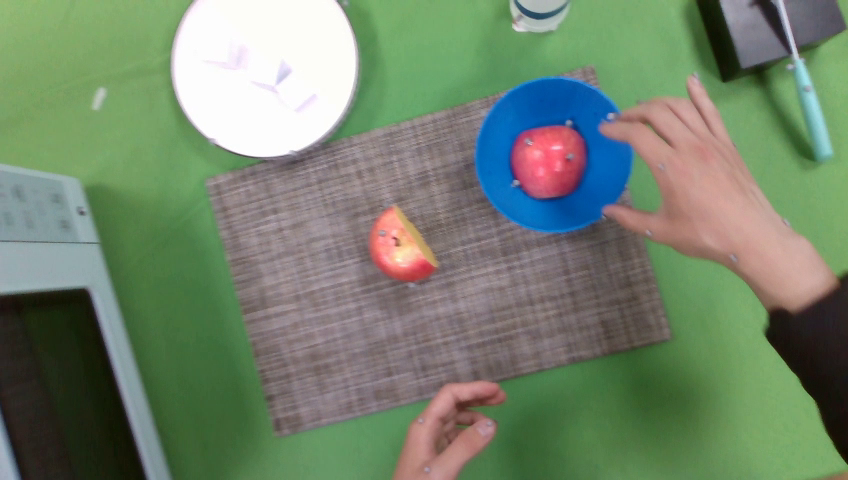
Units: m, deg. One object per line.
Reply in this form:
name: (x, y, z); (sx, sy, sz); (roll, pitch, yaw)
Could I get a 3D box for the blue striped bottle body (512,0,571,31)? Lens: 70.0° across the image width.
blue striped bottle body: (0.121, -0.258, 0.600); (0.063, 0.121, 0.063); (0, 89, 6)

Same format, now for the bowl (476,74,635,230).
bowl: (0.129, -0.084, 0.618); (0.151, 0.077, 0.151); (0, 90, 6)

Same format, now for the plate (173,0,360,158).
plate: (-0.170, -0.192, 0.671); (0.207, 0.039, 0.207); (0, 90, 5)

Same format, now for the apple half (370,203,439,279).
apple half: (-0.027, 0.007, 0.636); (0.053, 0.074, 0.081); (-35, 90, 8)

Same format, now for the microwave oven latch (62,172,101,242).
microwave oven latch: (-0.390, -0.035, 0.675); (0.030, 0.029, 0.079); (-17, 89, 5)

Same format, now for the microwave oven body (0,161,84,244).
microwave oven body: (-0.490, 0.176, 0.588); (0.326, 0.260, 0.441); (-17, 89, 5)

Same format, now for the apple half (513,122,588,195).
apple half: (0.130, -0.084, 0.612); (0.081, 0.033, 0.081); (0, 89, 7)

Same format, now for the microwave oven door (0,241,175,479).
microwave oven door: (-0.339, 0.174, 0.568); (0.039, 0.244, 0.355); (-18, 88, 6)

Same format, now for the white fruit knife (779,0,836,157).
white fruit knife: (0.368, -0.173, 0.593); (0.016, 0.027, 0.208); (-21, 105, 23)
